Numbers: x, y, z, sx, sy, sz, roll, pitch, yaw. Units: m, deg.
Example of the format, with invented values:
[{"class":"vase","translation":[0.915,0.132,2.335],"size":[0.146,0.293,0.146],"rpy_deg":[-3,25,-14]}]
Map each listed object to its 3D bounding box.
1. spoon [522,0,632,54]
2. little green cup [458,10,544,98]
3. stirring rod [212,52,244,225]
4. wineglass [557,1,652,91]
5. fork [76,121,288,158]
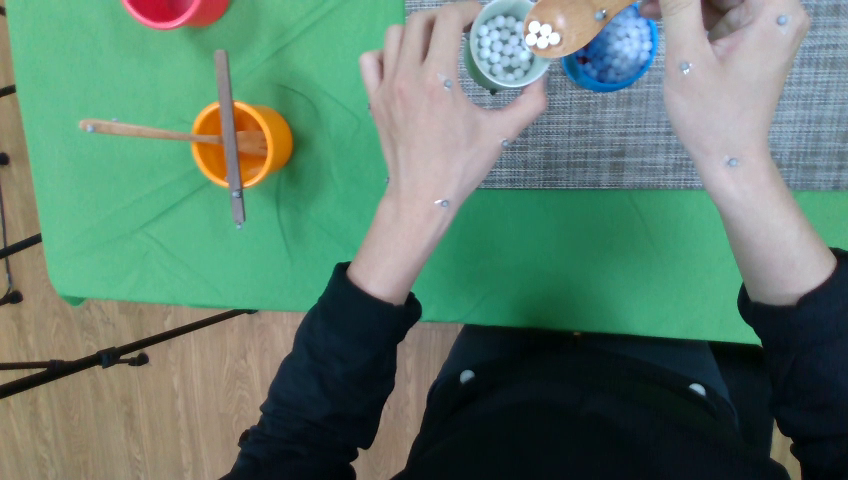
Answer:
[{"class":"spoon","translation":[0.136,-0.149,0.347],"size":[0.192,0.021,0.042],"rpy_deg":[-4,113,50]},{"class":"little green cup","translation":[0.056,-0.138,0.447],"size":[0.061,0.038,0.062],"rpy_deg":[0,114,1]},{"class":"stirring rod","translation":[-0.202,-0.102,0.625],"size":[0.014,0.006,0.177],"rpy_deg":[1,105,11]},{"class":"wineglass","translation":[0.151,-0.168,0.529],"size":[0.073,0.172,0.074],"rpy_deg":[3,105,10]},{"class":"fork","translation":[-0.244,-0.106,0.633],"size":[0.208,0.018,0.028],"rpy_deg":[0,118,-35]}]
